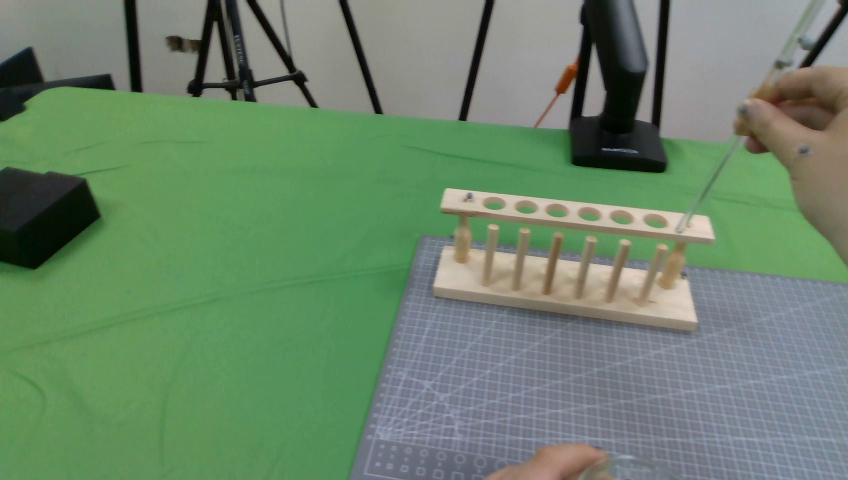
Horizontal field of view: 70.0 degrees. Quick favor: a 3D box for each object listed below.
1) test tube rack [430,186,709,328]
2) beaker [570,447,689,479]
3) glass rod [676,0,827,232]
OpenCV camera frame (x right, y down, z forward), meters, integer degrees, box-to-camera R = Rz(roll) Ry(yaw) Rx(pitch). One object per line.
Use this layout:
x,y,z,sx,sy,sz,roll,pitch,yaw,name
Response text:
0.131,0.014,0.572,0.242,0.086,0.066,7,39,7,test tube rack
0.102,0.176,0.337,0.084,0.101,0.073,-2,40,-8,beaker
0.200,-0.068,0.383,0.008,0.201,0.008,2,52,-2,glass rod
